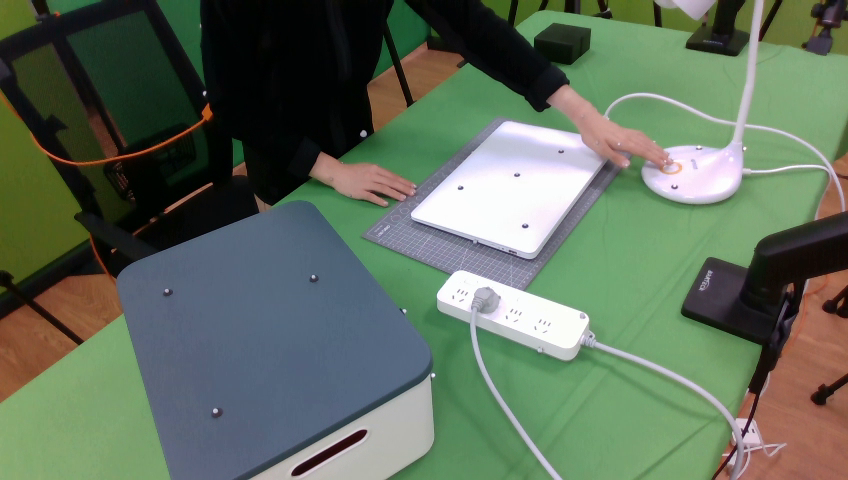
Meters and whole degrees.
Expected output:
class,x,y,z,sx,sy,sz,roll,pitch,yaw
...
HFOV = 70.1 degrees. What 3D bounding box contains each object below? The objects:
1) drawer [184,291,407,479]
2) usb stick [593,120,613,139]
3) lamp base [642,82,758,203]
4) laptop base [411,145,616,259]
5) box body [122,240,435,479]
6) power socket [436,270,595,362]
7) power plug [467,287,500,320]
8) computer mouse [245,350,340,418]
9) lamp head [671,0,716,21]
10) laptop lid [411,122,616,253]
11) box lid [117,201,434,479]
class,x,y,z,sx,sy,sz,roll,pitch,yaw
drawer,-0.155,0.179,0.719,0.195,0.073,0.210,-27,40,-21
usb stick,0.336,-0.201,1.146,0.021,0.027,0.059,26,53,26
lamp base,0.464,-0.174,0.992,0.179,0.181,0.159,-5,41,-1
laptop base,0.168,-0.101,1.073,0.234,0.023,0.355,17,46,30
box body,-0.175,0.142,0.725,0.255,0.161,0.360,-25,43,-20
power socket,0.119,0.101,0.832,0.225,0.033,0.072,19,48,27
power plug,0.073,0.092,0.814,0.035,0.053,0.073,29,53,35
computer mouse,-0.165,0.173,0.754,0.118,0.041,0.062,-18,34,-18
lamp head,0.375,-0.373,0.807,0.122,0.113,0.112,-40,27,32
laptop lid,0.165,-0.111,1.067,0.240,0.013,0.357,19,46,31
box lid,-0.182,0.087,0.675,0.264,0.015,0.368,-25,42,-20
